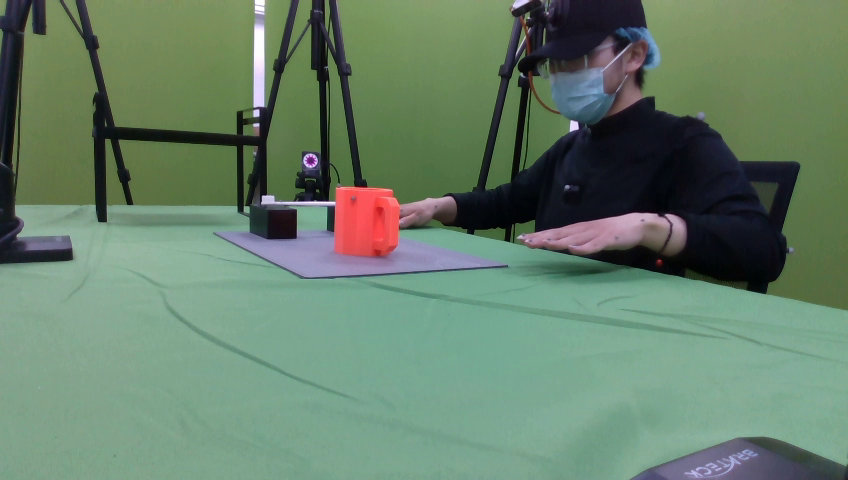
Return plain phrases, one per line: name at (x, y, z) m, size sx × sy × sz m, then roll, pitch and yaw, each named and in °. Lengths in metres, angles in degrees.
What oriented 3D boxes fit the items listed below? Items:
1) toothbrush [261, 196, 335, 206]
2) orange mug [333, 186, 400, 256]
toothbrush at (-0.200, -0.068, 1.073) m, size 0.183 × 0.016 × 0.014 m, roll -1°, pitch -7°, yaw -34°
orange mug at (-0.080, -0.029, 0.888) m, size 0.084 × 0.100 × 0.125 m, roll -3°, pitch 5°, yaw -40°
